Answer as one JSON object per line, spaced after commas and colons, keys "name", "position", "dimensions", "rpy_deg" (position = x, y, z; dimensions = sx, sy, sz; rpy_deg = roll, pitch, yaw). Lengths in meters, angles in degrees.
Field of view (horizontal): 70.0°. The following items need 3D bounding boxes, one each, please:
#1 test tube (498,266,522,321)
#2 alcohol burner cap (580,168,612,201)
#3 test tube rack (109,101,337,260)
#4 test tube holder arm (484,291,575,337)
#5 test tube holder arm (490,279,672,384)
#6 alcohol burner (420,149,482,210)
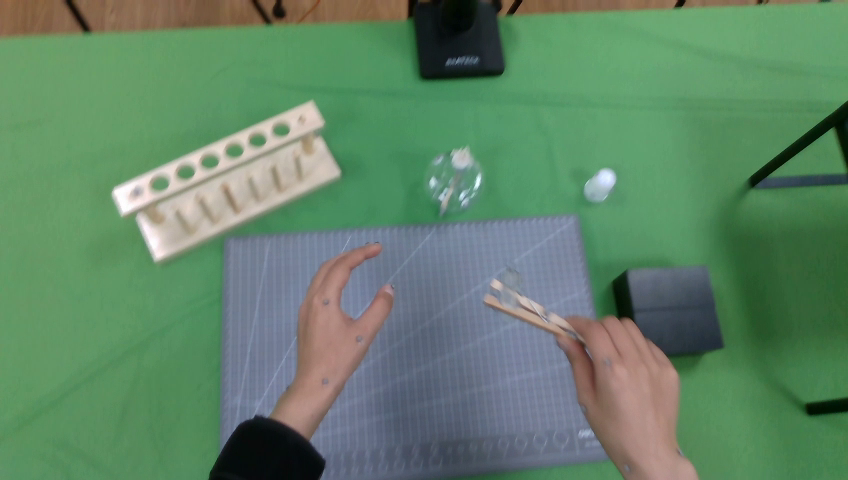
{"name": "test tube", "position": [0.077, 0.052, 0.553], "dimensions": [0.017, 0.151, 0.017], "rpy_deg": [-2, 71, 5]}
{"name": "alcohol burner cap", "position": [0.226, -0.074, 0.788], "dimensions": [0.034, 0.048, 0.033], "rpy_deg": [1, 71, -3]}
{"name": "test tube rack", "position": [-0.230, -0.070, 0.726], "dimensions": [0.242, 0.085, 0.066], "rpy_deg": [-28, 75, -13]}
{"name": "test tube holder arm", "position": [0.097, 0.068, 0.556], "dimensions": [0.087, 0.015, 0.010], "rpy_deg": [21, 82, 9]}
{"name": "test tube holder arm", "position": [0.140, 0.082, 0.549], "dimensions": [0.178, 0.015, 0.013], "rpy_deg": [27, 83, 10]}
{"name": "alcohol burner", "position": [0.035, -0.082, 0.737], "dimensions": [0.078, 0.119, 0.077], "rpy_deg": [2, 72, -5]}
